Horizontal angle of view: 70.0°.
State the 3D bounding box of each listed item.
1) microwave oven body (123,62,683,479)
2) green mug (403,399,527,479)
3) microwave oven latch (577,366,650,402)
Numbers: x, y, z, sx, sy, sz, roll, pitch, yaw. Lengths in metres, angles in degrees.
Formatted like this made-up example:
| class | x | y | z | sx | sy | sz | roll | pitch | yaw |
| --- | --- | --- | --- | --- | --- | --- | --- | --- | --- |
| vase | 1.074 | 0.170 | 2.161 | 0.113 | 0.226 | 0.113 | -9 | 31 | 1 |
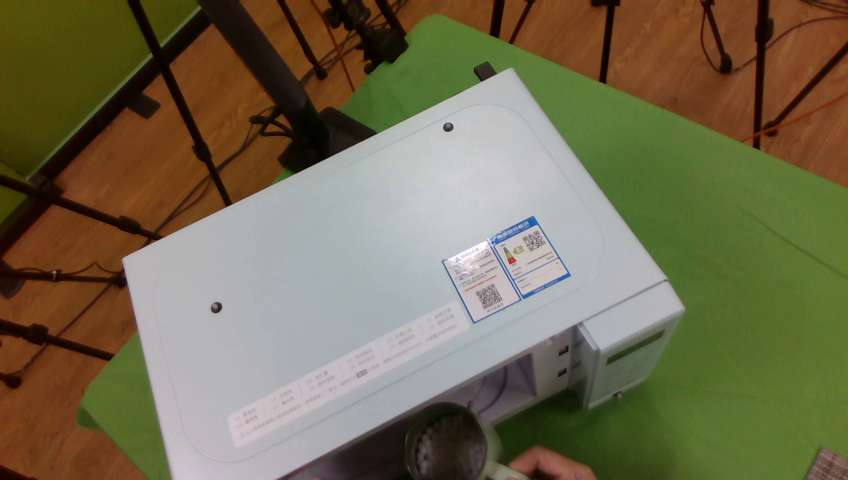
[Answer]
| class | x | y | z | sx | sy | sz | roll | pitch | yaw |
| --- | --- | --- | --- | --- | --- | --- | --- | --- | --- |
| microwave oven body | -0.026 | 0.075 | 0.653 | 0.442 | 0.262 | 0.323 | -27 | 62 | -2 |
| green mug | 0.040 | 0.210 | 0.590 | 0.125 | 0.106 | 0.092 | 20 | 70 | 15 |
| microwave oven latch | 0.211 | 0.151 | 0.677 | 0.079 | 0.030 | 0.030 | -26 | 62 | -1 |
